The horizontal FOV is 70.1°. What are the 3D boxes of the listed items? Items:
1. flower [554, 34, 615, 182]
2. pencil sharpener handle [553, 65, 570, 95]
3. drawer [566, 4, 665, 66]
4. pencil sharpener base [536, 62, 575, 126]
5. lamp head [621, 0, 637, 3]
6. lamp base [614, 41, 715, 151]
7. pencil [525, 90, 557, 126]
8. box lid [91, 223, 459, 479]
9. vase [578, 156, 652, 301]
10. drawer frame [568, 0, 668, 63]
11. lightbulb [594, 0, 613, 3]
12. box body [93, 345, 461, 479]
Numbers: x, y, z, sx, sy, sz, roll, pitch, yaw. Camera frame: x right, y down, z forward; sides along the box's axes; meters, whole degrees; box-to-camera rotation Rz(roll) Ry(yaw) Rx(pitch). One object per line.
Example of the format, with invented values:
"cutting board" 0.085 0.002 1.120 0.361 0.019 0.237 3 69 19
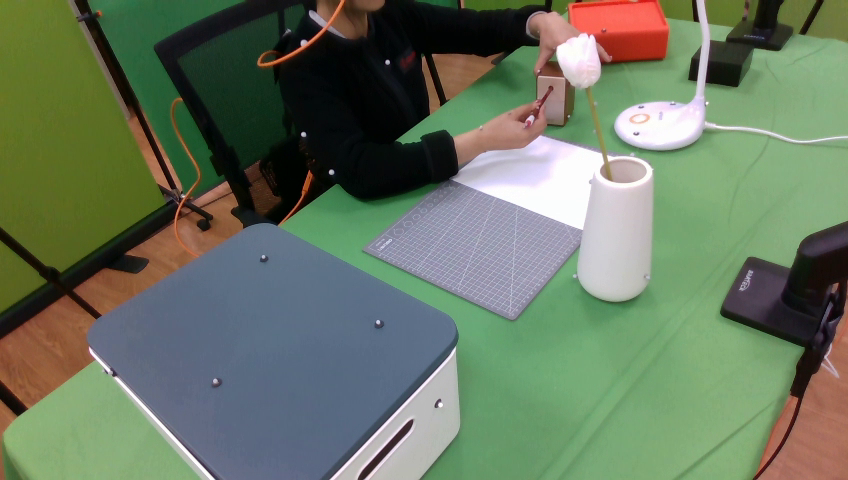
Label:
"flower" 0.237 -0.083 0.774 0.044 0.363 0.038 -22 26 6
"pencil sharpener handle" 0.285 -0.335 1.246 0.036 0.068 0.030 14 43 20
"drawer" 0.447 -0.493 1.441 0.211 0.073 0.194 0 40 10
"pencil sharpener base" 0.266 -0.294 1.218 0.061 0.107 0.077 10 42 24
"lamp head" 0.319 -0.453 0.962 0.113 0.123 0.112 20 33 -13
"lamp base" 0.449 -0.277 1.106 0.179 0.181 0.160 1 41 9
"pencil" 0.225 -0.253 1.127 0.012 0.012 0.194 12 38 24
"box lid" -0.174 0.102 0.666 0.368 0.015 0.264 24 48 35
"vase" 0.261 -0.011 0.812 0.098 0.201 0.097 -4 40 4
"drawer frame" 0.450 -0.496 1.441 0.213 0.083 0.201 -1 40 9
"lightbulb" 0.305 -0.437 0.977 0.060 0.107 0.059 12 44 -11
"box body" -0.162 0.170 0.708 0.361 0.161 0.255 25 50 34
